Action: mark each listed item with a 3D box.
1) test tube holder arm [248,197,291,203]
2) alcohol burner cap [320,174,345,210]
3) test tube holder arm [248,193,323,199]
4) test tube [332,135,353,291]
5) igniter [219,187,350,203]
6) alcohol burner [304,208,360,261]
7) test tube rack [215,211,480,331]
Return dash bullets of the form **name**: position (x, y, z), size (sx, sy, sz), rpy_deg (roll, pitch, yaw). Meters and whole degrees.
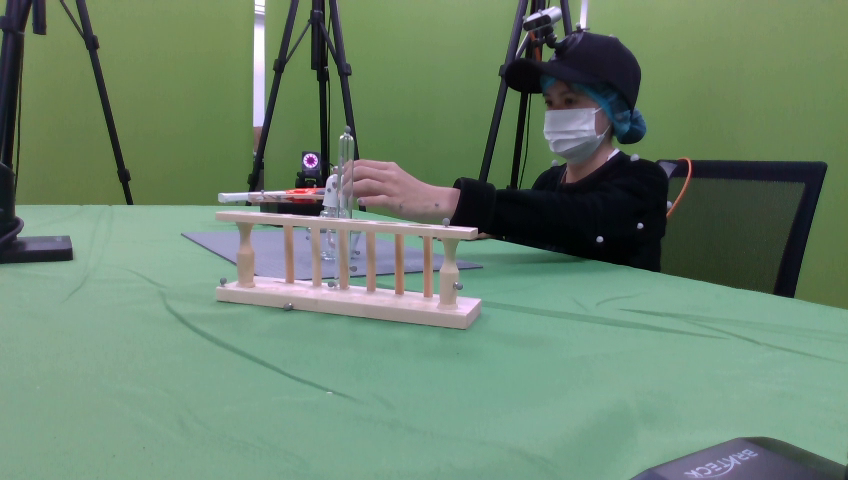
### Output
- **test tube holder arm**: position (-0.303, -0.080, 1.191), size (0.088, 0.010, 0.015), rpy_deg (-7, 18, -39)
- **alcohol burner cap**: position (-0.124, -0.067, 0.833), size (0.034, 0.048, 0.034), rpy_deg (7, 7, -1)
- **test tube holder arm**: position (-0.268, -0.089, 1.218), size (0.179, 0.013, 0.015), rpy_deg (-6, 18, -40)
- **test tube**: position (-0.078, -0.025, 0.581), size (0.017, 0.150, 0.017), rpy_deg (3, 7, 0)
- **igniter**: position (-0.285, -0.094, 1.268), size (0.278, 0.025, 0.057), rpy_deg (-6, 11, -34)
- **alcohol burner**: position (-0.126, -0.031, 0.838), size (0.078, 0.119, 0.078), rpy_deg (3, 5, 0)
- **test tube rack**: position (-0.071, 0.022, 0.565), size (0.242, 0.085, 0.067), rpy_deg (5, 7, 16)
